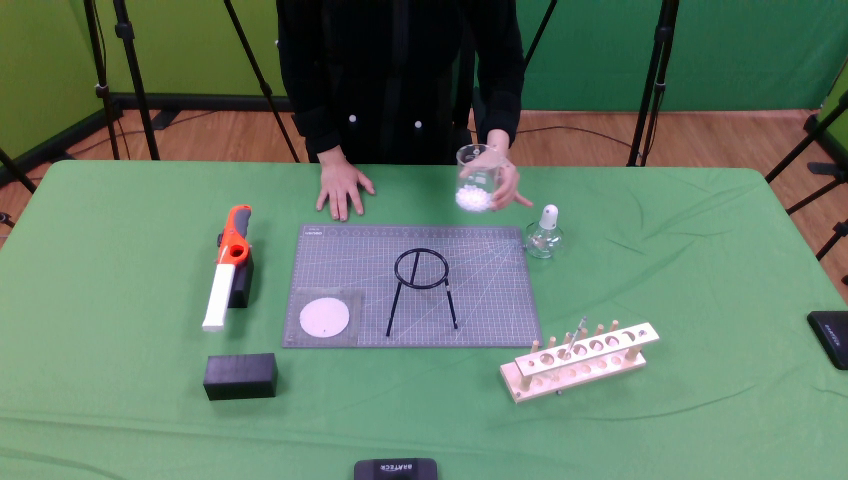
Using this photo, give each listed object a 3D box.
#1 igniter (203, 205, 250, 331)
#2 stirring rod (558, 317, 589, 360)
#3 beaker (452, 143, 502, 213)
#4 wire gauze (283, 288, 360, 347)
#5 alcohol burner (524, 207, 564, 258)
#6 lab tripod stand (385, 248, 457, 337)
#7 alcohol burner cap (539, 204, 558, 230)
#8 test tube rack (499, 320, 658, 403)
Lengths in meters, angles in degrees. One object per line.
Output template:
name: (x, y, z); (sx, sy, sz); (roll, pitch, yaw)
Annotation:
igniter: (-0.345, 0.038, 1.065); (0.057, 0.025, 0.274); (3, 49, -6)
stirring rod: (0.221, 0.155, 0.912); (0.014, 0.177, 0.006); (5, 58, 2)
beaker: (0.087, -0.103, 1.037); (0.084, 0.101, 0.073); (5, 42, 3)
wire gauze: (-0.178, 0.132, 1.063); (0.125, 0.011, 0.120); (2, 46, 1)
alcohol burner: (0.236, -0.021, 1.174); (0.078, 0.120, 0.077); (1, 48, -1)
lab tripod stand: (-0.010, 0.087, 1.032); (0.148, 0.132, 0.147); (1, 45, -1)
alcohol burner cap: (0.238, -0.046, 1.148); (0.034, 0.048, 0.033); (2, 43, -1)
test tube rack: (0.252, 0.187, 0.994); (0.243, 0.085, 0.066); (-12, 48, -15)
